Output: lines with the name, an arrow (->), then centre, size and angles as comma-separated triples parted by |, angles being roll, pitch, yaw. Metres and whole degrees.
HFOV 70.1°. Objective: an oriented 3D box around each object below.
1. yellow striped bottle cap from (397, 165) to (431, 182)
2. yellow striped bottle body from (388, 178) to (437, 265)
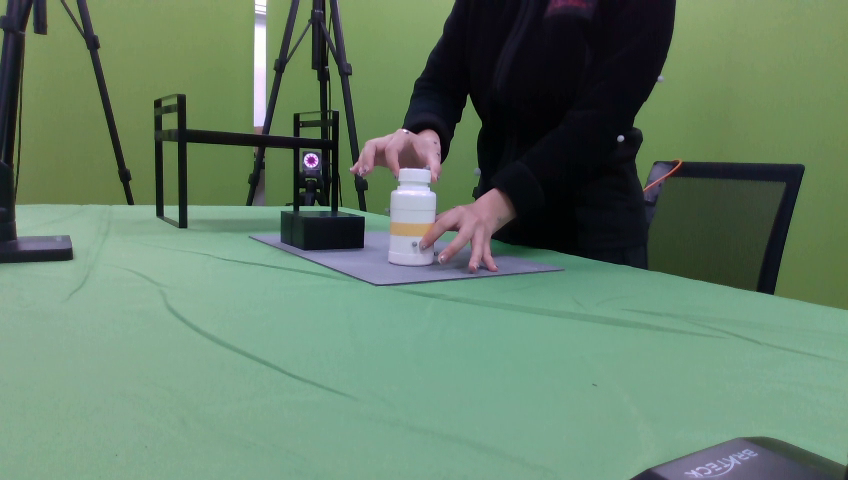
yellow striped bottle cap -> -0.013, -0.088, 0.804 | 0.044, 0.018, 0.044 | 4, 0, 0
yellow striped bottle body -> -0.015, -0.030, 0.813 | 0.063, 0.120, 0.063 | 3, 7, 0
